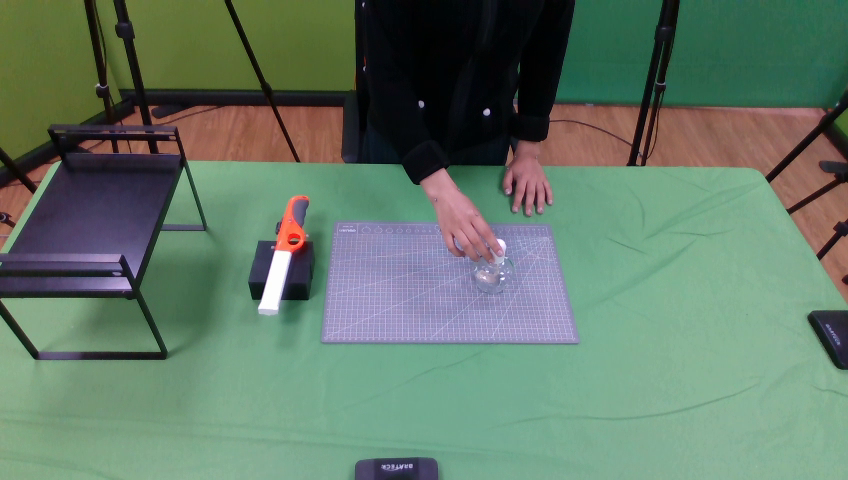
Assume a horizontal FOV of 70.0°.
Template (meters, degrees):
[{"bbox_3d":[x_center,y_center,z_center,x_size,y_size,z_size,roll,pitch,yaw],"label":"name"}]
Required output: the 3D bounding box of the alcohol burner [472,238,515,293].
[{"bbox_3d":[0.128,0.041,1.102,0.078,0.120,0.077,1,47,-1],"label":"alcohol burner"}]

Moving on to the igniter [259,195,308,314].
[{"bbox_3d":[-0.252,0.016,1.094,0.057,0.025,0.275,6,48,-3],"label":"igniter"}]

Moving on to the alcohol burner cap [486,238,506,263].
[{"bbox_3d":[0.130,0.016,1.076,0.034,0.048,0.033,2,57,-3],"label":"alcohol burner cap"}]
